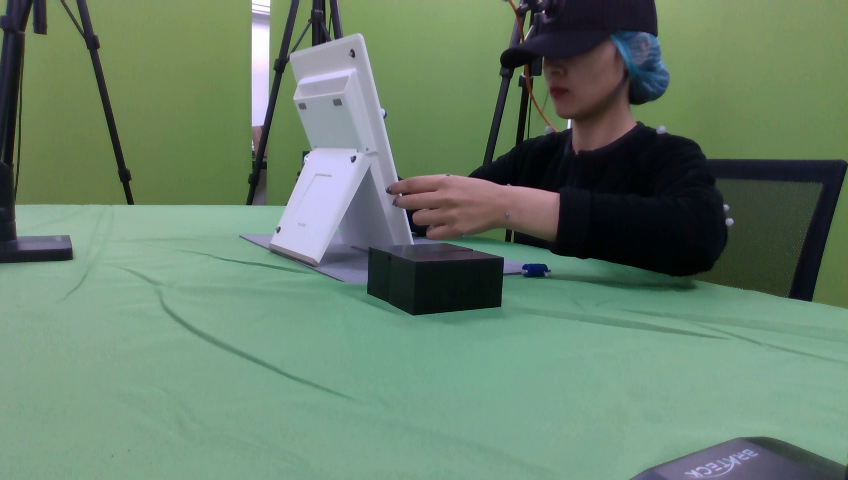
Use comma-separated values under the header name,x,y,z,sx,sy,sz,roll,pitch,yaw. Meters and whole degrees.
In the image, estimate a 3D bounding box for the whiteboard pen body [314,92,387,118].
name,x,y,z,sx,sy,sz,roll,pitch,yaw
whiteboard pen body,-0.111,-0.208,0.929,0.017,0.017,0.141,8,2,42

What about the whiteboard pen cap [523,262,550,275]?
name,x,y,z,sx,sy,sz,roll,pitch,yaw
whiteboard pen cap,0.145,0.037,0.776,0.033,0.018,0.018,1,6,-29

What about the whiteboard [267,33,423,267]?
name,x,y,z,sx,sy,sz,roll,pitch,yaw
whiteboard,-0.153,-0.098,0.818,0.144,0.305,0.216,-25,21,-29
